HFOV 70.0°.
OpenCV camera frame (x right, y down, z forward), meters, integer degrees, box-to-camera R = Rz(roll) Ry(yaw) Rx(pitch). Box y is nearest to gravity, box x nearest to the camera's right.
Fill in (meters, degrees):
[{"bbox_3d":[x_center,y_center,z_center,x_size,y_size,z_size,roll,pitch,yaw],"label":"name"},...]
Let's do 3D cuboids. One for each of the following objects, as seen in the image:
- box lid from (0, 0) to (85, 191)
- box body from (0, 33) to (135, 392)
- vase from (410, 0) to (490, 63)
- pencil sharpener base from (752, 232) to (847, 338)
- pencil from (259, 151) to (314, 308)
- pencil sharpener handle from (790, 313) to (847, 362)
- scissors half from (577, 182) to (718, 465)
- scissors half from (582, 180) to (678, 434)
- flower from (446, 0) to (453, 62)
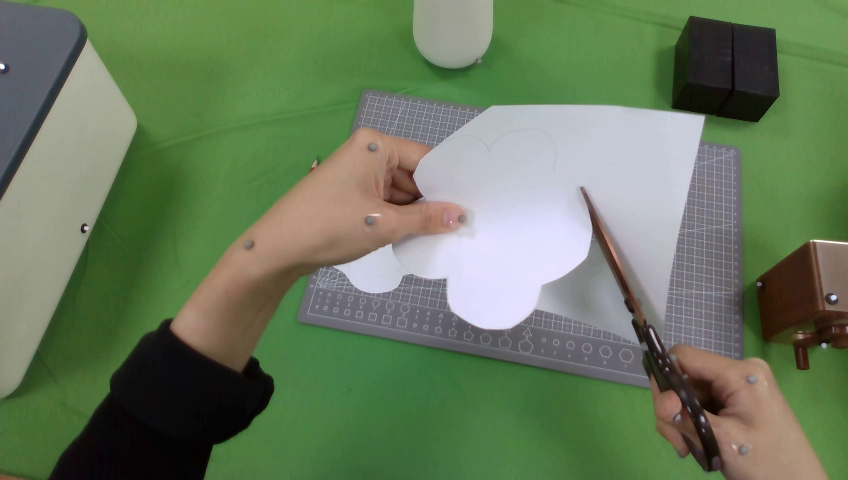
[{"bbox_3d":[-0.482,-0.081,0.523,0.263,0.015,0.369,10,67,4],"label":"box lid"},{"bbox_3d":[-0.481,-0.049,0.592,0.254,0.161,0.361,10,67,4],"label":"box body"},{"bbox_3d":[0.030,-0.294,0.677,0.098,0.201,0.097,0,65,1],"label":"vase"},{"bbox_3d":[0.371,0.049,0.580,0.061,0.108,0.076,6,67,3],"label":"pencil sharpener base"},{"bbox_3d":[-0.147,-0.017,0.663,0.012,0.012,0.192,10,66,5],"label":"pencil"},{"bbox_3d":[0.362,0.091,0.549,0.036,0.068,0.030,11,67,-10],"label":"pencil sharpener handle"},{"bbox_3d":[0.125,0.046,0.342,0.013,0.040,0.175,-25,86,1],"label":"scissors half"},{"bbox_3d":[0.125,0.043,0.363,0.013,0.040,0.176,-24,108,6],"label":"scissors half"},{"bbox_3d":[0.025,-0.341,0.606,0.044,0.365,0.038,3,49,5],"label":"flower"}]
